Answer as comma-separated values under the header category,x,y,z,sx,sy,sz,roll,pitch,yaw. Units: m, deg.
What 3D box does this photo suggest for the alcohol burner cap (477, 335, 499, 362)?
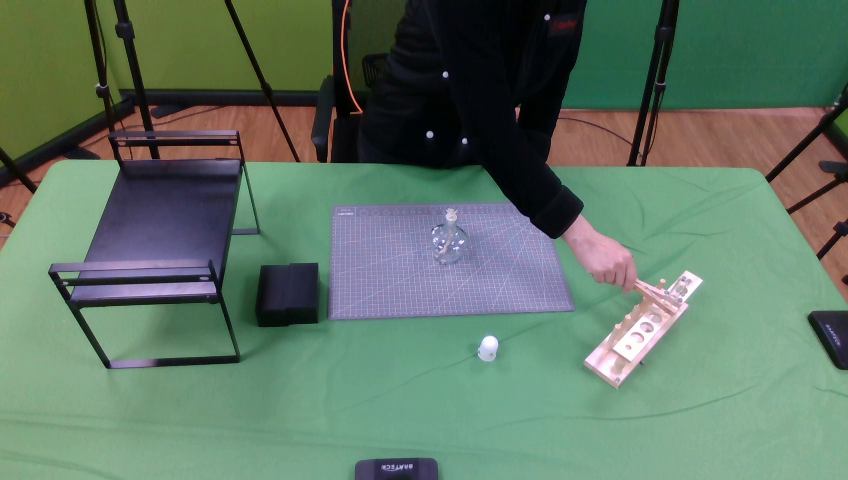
category,x,y,z,sx,sy,sz,roll,pitch,yaw
alcohol burner cap,0.109,0.180,1.016,0.034,0.048,0.033,4,50,-4

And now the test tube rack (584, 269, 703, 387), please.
category,x,y,z,sx,sy,sz,roll,pitch,yaw
test tube rack,0.381,0.139,1.045,0.066,0.085,0.242,37,55,27

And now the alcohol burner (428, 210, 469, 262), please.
category,x,y,z,sx,sy,sz,roll,pitch,yaw
alcohol burner,0.048,-0.014,1.146,0.078,0.119,0.077,3,48,-3

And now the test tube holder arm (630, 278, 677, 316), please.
category,x,y,z,sx,sy,sz,roll,pitch,yaw
test tube holder arm,0.379,0.092,1.003,0.010,0.015,0.087,-35,63,-22

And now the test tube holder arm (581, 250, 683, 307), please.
category,x,y,z,sx,sy,sz,roll,pitch,yaw
test tube holder arm,0.348,0.064,1.021,0.178,0.015,0.013,30,59,18

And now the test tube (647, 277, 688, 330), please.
category,x,y,z,sx,sy,sz,roll,pitch,yaw
test tube,0.402,0.109,1.006,0.017,0.151,0.017,2,53,-2
